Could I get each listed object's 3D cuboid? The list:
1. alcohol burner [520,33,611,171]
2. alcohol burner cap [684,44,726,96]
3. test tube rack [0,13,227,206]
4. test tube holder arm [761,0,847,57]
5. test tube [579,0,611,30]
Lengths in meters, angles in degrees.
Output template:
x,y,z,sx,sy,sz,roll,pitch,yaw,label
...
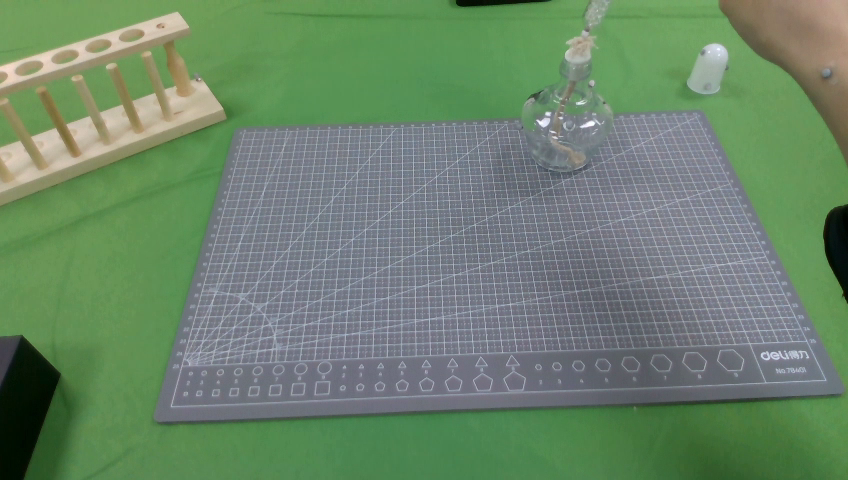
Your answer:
x,y,z,sx,sy,sz,roll,pitch,yaw,label
0.121,-0.117,0.508,0.078,0.120,0.077,-1,47,1,alcohol burner
0.281,-0.170,0.600,0.034,0.048,0.033,-2,49,2,alcohol burner cap
-0.314,-0.115,0.542,0.242,0.086,0.066,-27,53,-20,test tube rack
0.193,-0.168,0.377,0.177,0.015,0.013,42,55,16,test tube holder arm
0.140,-0.206,0.399,0.017,0.151,0.017,9,50,-11,test tube
